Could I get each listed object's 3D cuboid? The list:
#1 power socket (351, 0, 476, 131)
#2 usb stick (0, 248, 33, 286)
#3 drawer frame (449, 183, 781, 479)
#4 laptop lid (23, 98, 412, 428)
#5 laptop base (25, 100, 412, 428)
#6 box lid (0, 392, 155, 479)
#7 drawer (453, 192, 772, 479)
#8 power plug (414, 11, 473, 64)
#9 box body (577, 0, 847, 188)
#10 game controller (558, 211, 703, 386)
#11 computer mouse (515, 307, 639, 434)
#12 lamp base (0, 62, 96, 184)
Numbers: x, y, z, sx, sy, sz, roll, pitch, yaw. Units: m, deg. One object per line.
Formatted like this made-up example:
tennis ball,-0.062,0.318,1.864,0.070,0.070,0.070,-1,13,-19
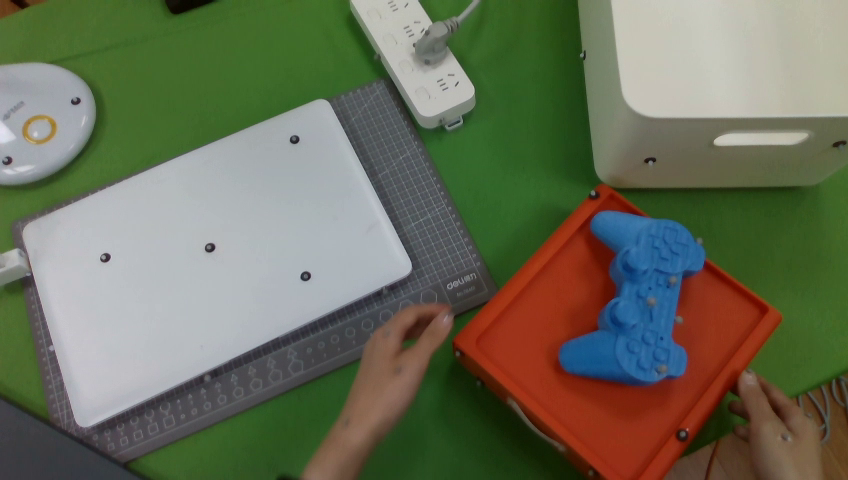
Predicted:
power socket,-0.015,-0.225,0.710,0.072,0.033,0.225,-26,70,-9
usb stick,-0.424,0.026,0.625,0.059,0.027,0.021,-22,65,-8
drawer frame,0.166,0.091,0.554,0.200,0.083,0.213,40,76,17
laptop lid,-0.217,0.010,0.624,0.357,0.013,0.240,-24,72,-6
laptop base,-0.217,0.012,0.635,0.354,0.023,0.234,-25,74,-7
box lid,-0.375,0.303,0.536,0.370,0.015,0.262,23,72,11
drawer,0.166,0.093,0.554,0.193,0.074,0.211,40,76,17
power plug,0.025,-0.220,0.681,0.072,0.053,0.035,-15,68,-5
box body,0.299,-0.240,0.631,0.254,0.161,0.361,0,69,2
game controller,0.179,0.048,0.515,0.097,0.052,0.154,17,72,6
computer mouse,0.141,0.118,0.561,0.063,0.041,0.116,-38,69,-8
lamp base,-0.475,-0.170,0.631,0.178,0.181,0.160,23,71,14
